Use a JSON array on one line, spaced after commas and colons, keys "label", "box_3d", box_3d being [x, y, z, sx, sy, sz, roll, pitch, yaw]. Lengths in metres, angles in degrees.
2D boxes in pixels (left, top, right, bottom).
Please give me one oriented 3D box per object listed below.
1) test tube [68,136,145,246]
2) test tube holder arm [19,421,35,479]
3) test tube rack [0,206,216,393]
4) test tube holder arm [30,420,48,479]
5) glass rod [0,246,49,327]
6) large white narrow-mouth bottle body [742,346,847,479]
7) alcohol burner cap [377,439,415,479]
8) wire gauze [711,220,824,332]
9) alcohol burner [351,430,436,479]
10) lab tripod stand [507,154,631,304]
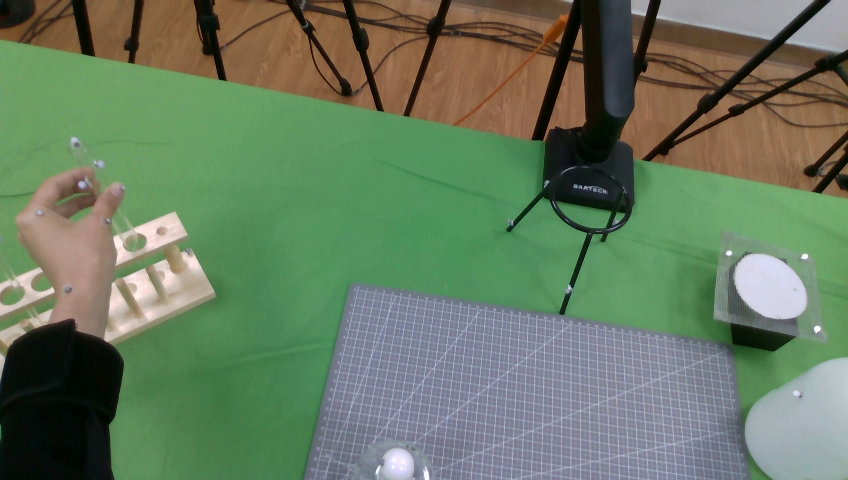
[{"label": "test tube", "box_3d": [-0.289, -0.038, 0.559, 0.017, 0.151, 0.017, 2, 55, -2]}, {"label": "test tube holder arm", "box_3d": [-0.336, 0.198, 0.513, 0.010, 0.015, 0.087, -5, 60, -19]}, {"label": "test tube rack", "box_3d": [-0.347, 0.061, 0.612, 0.242, 0.086, 0.066, -27, 65, -21]}, {"label": "test tube holder arm", "box_3d": [-0.320, 0.236, 0.493, 0.013, 0.015, 0.176, -5, 60, -20]}, {"label": "glass rod", "box_3d": [-0.379, 0.026, 0.553, 0.008, 0.201, 0.008, 5, 49, -6]}, {"label": "large white narrow-mouth bottle body", "box_3d": [0.395, 0.157, 0.574, 0.102, 0.196, 0.101, 3, 58, -4]}, {"label": "alcohol burner cap", "box_3d": [-0.023, 0.187, 0.511, 0.034, 0.048, 0.033, 3, 52, -3]}, {"label": "wire gauze", "box_3d": [0.393, 0.040, 0.697, 0.121, 0.011, 0.124, 16, 58, 3]}, {"label": "alcohol burner", "box_3d": [-0.026, 0.205, 0.542, 0.078, 0.120, 0.077, 4, 57, -6]}, {"label": "lab tripod stand", "box_3d": [0.171, -0.019, 0.693, 0.148, 0.132, 0.147, 4, 60, -6]}]
